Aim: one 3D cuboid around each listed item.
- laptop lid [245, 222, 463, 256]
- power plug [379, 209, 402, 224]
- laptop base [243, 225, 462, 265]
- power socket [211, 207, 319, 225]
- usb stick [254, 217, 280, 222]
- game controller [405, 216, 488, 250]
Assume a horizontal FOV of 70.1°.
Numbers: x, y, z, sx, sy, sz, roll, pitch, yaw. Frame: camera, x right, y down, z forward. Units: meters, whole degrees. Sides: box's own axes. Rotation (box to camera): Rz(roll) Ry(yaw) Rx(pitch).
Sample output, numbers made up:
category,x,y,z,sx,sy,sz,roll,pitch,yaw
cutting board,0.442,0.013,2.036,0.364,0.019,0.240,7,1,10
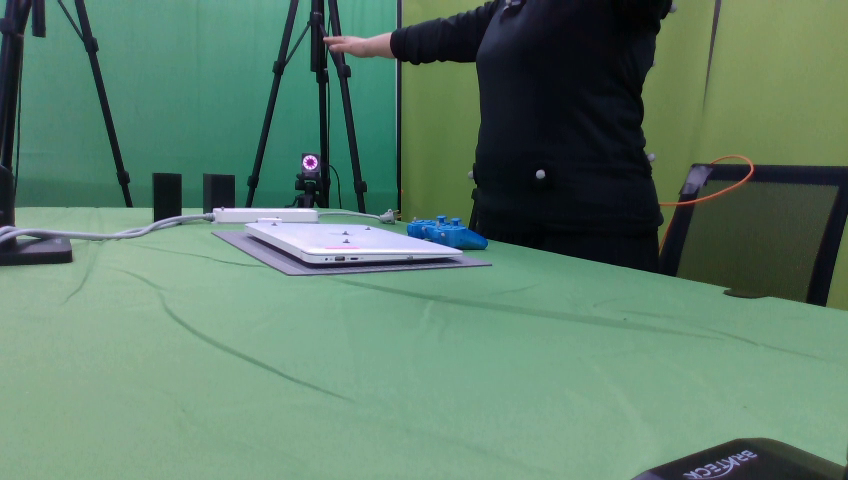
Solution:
category,x,y,z,sx,sy,sz,roll,pitch,yaw
laptop lid,-0.126,-0.005,0.951,0.243,0.013,0.355,1,7,-28
power plug,-0.081,-0.061,1.421,0.053,0.035,0.072,-16,21,-5
laptop base,-0.129,0.007,0.952,0.237,0.023,0.352,2,6,-30
power socket,-0.335,-0.051,1.281,0.228,0.032,0.072,-2,9,-29
usb stick,-0.296,-0.028,1.114,0.059,0.027,0.021,-3,11,-30
game controller,0.034,-0.013,1.067,0.097,0.051,0.154,-7,10,-29
